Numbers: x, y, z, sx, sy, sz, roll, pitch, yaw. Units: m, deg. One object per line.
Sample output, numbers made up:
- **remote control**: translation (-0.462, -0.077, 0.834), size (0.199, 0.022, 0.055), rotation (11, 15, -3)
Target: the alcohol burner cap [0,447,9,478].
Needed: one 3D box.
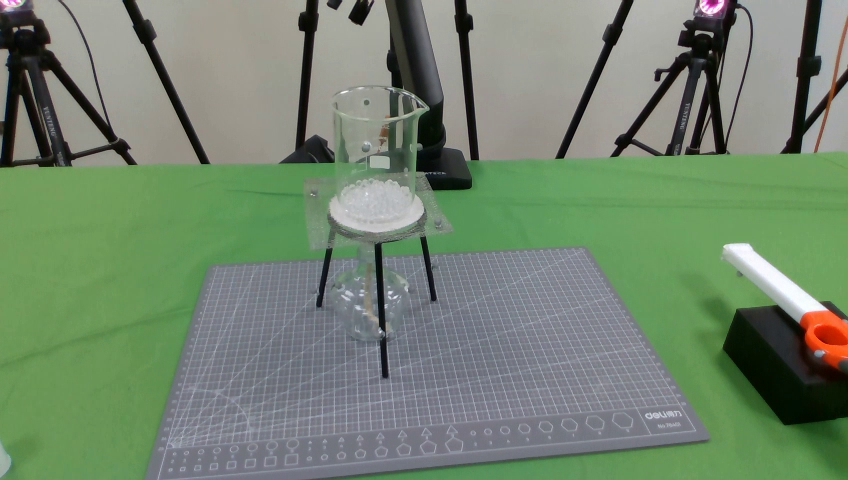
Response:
- **alcohol burner cap**: translation (-0.332, 0.157, 0.447), size (0.034, 0.048, 0.033), rotation (3, 31, -1)

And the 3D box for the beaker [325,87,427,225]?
- **beaker**: translation (-0.041, -0.071, 0.521), size (0.084, 0.101, 0.073), rotation (-4, 36, -10)

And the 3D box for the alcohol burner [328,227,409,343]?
- **alcohol burner**: translation (-0.053, 0.039, 0.580), size (0.078, 0.120, 0.077), rotation (3, 32, -2)

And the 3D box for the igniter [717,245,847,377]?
- **igniter**: translation (0.353, 0.078, 0.541), size (0.057, 0.025, 0.273), rotation (-3, 29, -8)

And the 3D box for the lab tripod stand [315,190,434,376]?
- **lab tripod stand**: translation (-0.043, 0.032, 0.573), size (0.148, 0.132, 0.147), rotation (3, 33, -2)

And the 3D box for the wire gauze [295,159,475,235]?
- **wire gauze**: translation (-0.036, -0.039, 0.534), size (0.125, 0.011, 0.120), rotation (-13, 33, -31)
